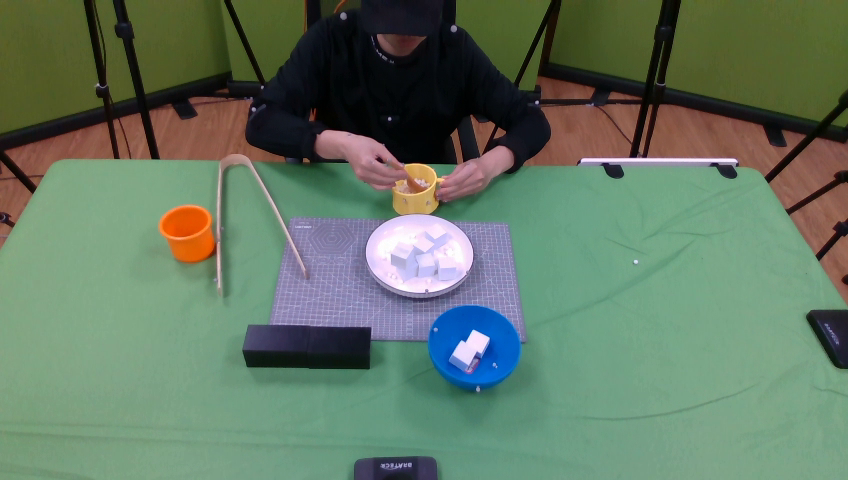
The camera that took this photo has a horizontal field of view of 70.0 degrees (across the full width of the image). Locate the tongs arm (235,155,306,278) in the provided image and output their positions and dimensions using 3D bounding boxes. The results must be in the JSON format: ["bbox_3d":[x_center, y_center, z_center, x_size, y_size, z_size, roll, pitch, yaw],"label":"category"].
[{"bbox_3d":[-0.312,-0.059,1.224,0.028,0.028,0.385,-22,50,-18],"label":"tongs arm"}]

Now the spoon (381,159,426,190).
[{"bbox_3d":[-0.043,-0.130,1.201,0.041,0.194,0.021,18,83,24],"label":"spoon"}]

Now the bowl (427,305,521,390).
[{"bbox_3d":[0.076,0.188,0.985,0.151,0.077,0.150,3,46,-3],"label":"bowl"}]

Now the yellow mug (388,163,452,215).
[{"bbox_3d":[-0.007,-0.104,1.256,0.131,0.064,0.099,-3,47,3],"label":"yellow mug"}]

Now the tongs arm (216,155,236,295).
[{"bbox_3d":[-0.388,-0.043,1.201,0.051,0.026,0.382,-10,46,-12],"label":"tongs arm"}]

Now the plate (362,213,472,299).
[{"bbox_3d":[-0.013,0.034,1.150,0.208,0.039,0.206,2,46,-2],"label":"plate"}]
